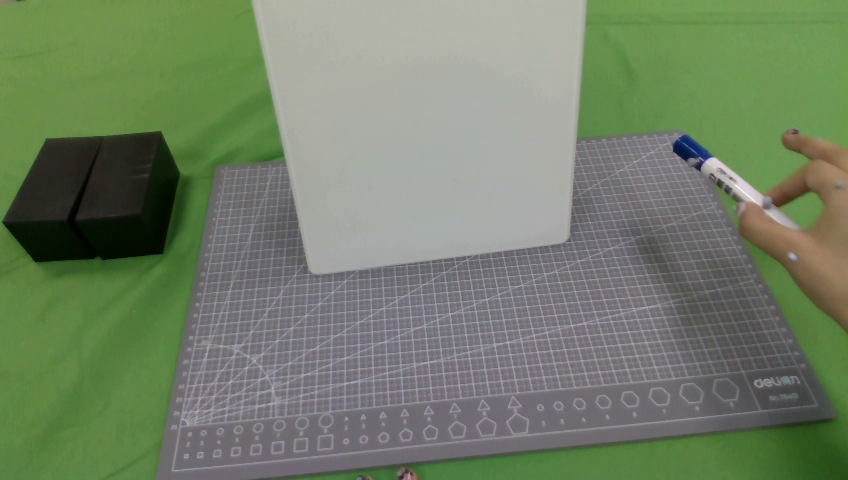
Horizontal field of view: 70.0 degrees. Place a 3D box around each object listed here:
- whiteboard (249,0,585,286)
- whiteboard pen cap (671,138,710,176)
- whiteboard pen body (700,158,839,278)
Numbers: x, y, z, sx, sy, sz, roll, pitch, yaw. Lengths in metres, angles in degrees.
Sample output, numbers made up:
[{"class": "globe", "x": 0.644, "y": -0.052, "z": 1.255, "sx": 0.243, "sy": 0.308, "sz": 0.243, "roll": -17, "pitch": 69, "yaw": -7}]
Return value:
[{"class": "whiteboard", "x": -0.005, "y": -0.142, "z": 0.473, "sx": 0.217, "sy": 0.308, "sz": 0.142, "roll": -7, "pitch": 31, "yaw": -3}, {"class": "whiteboard pen cap", "x": 0.208, "y": -0.063, "z": 0.469, "sx": 0.018, "sy": 0.018, "sz": 0.033, "roll": -20, "pitch": 49, "yaw": -15}, {"class": "whiteboard pen body", "x": 0.234, "y": -0.026, "z": 0.432, "sx": 0.017, "sy": 0.017, "sz": 0.139, "roll": -19, "pitch": 50, "yaw": -14}]
